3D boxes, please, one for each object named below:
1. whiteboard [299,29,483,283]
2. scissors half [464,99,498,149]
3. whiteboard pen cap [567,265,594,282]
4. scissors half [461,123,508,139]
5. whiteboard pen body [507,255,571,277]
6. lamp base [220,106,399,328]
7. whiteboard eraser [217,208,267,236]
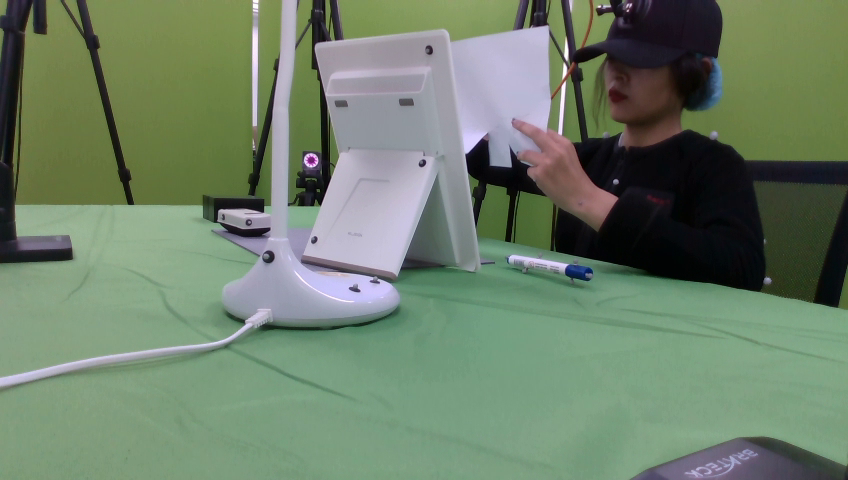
[{"bbox_3d":[-0.074,-0.082,0.742,0.216,0.305,0.144,9,29,38],"label":"whiteboard"},{"bbox_3d":[0.104,-0.204,1.057,0.040,0.013,0.174,-33,38,16],"label":"scissors half"},{"bbox_3d":[0.185,0.040,0.722,0.018,0.018,0.033,-2,6,-33],"label":"whiteboard pen cap"},{"bbox_3d":[0.087,-0.187,1.058,0.013,0.040,0.174,40,-13,-37],"label":"scissors half"},{"bbox_3d":[0.155,0.034,0.772,0.017,0.017,0.140,-2,7,-31],"label":"whiteboard pen body"},{"bbox_3d":[-0.102,-0.023,0.531,0.160,0.180,0.179,4,10,10],"label":"lamp base"},{"bbox_3d":[-0.309,-0.031,1.044,0.056,0.042,0.112,-2,9,-40],"label":"whiteboard eraser"}]
